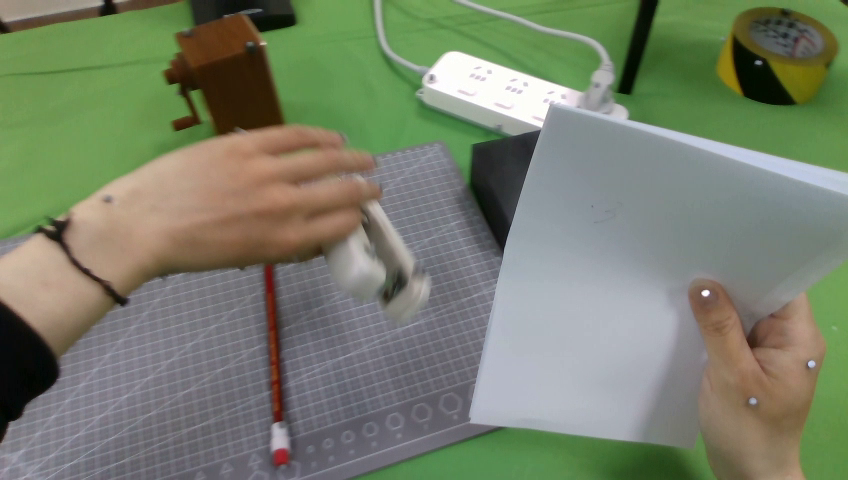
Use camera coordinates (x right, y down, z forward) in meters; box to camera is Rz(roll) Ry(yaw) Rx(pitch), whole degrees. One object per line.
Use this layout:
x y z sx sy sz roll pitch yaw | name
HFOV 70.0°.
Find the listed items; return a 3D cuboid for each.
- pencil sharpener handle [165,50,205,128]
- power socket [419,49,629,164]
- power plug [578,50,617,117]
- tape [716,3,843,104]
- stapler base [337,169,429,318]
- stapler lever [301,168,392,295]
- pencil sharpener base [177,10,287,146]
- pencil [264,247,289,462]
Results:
-0.228 -0.139 0.564 0.031 0.068 0.035 -25 34 -17 | pencil sharpener handle
0.104 -0.143 0.632 0.225 0.033 0.072 24 56 18 | power socket
0.182 -0.149 0.608 0.035 0.053 0.072 33 60 23 | power plug
0.392 -0.208 0.671 0.117 0.053 0.115 0 53 0 | tape
-0.043 -0.002 0.429 0.041 0.025 0.129 -47 52 14 | stapler base
-0.059 -0.010 0.411 0.027 0.040 0.116 -47 52 14 | stapler lever
-0.187 -0.155 0.593 0.077 0.108 0.060 -25 57 -17 | pencil sharpener base
-0.118 0.079 0.475 0.012 0.012 0.192 -10 52 -7 | pencil
